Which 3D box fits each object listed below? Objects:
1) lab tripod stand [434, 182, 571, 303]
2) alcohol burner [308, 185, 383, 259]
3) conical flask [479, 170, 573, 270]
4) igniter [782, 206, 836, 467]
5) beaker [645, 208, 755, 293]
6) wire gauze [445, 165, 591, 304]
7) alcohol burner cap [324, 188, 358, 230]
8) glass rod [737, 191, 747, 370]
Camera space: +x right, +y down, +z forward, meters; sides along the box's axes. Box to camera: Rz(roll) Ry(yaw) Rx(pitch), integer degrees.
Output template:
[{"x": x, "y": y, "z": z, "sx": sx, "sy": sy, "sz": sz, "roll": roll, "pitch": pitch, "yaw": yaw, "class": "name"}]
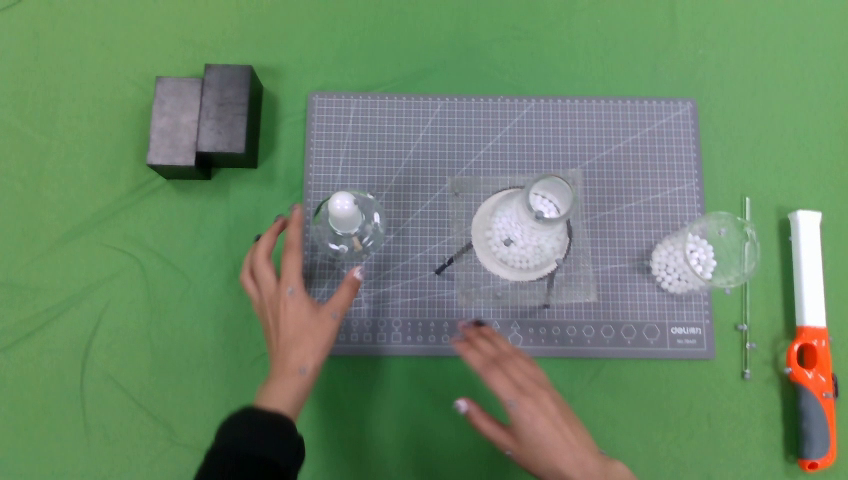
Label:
[{"x": 0.083, "y": 0.005, "z": 0.603, "sx": 0.148, "sy": 0.132, "sz": 0.148, "roll": 0, "pitch": 81, "yaw": 0, "class": "lab tripod stand"}, {"x": -0.081, "y": -0.023, "z": 0.614, "sx": 0.078, "sy": 0.119, "sz": 0.077, "roll": 0, "pitch": 77, "yaw": -1, "class": "alcohol burner"}, {"x": 0.086, "y": -0.020, "z": 0.481, "sx": 0.075, "sy": 0.122, "sz": 0.075, "roll": 0, "pitch": 79, "yaw": 0, "class": "conical flask"}, {"x": 0.410, "y": 0.100, "z": 0.649, "sx": 0.057, "sy": 0.025, "sz": 0.275, "roll": 5, "pitch": 80, "yaw": -10, "class": "igniter"}, {"x": 0.280, "y": 0.013, "z": 0.623, "sx": 0.084, "sy": 0.100, "sz": 0.074, "roll": -36, "pitch": 82, "yaw": -8, "class": "beaker"}, {"x": 0.084, "y": -0.005, "z": 0.538, "sx": 0.125, "sy": 0.011, "sz": 0.121, "roll": -3, "pitch": 82, "yaw": -4, "class": "wire gauze"}, {"x": -0.080, "y": -0.032, "z": 0.580, "sx": 0.034, "sy": 0.048, "sz": 0.033, "roll": 1, "pitch": 71, "yaw": -3, "class": "alcohol burner cap"}, {"x": 0.351, "y": 0.042, "z": 0.669, "sx": 0.008, "sy": 0.008, "sz": 0.199, "roll": 5, "pitch": 79, "yaw": 0, "class": "glass rod"}]
